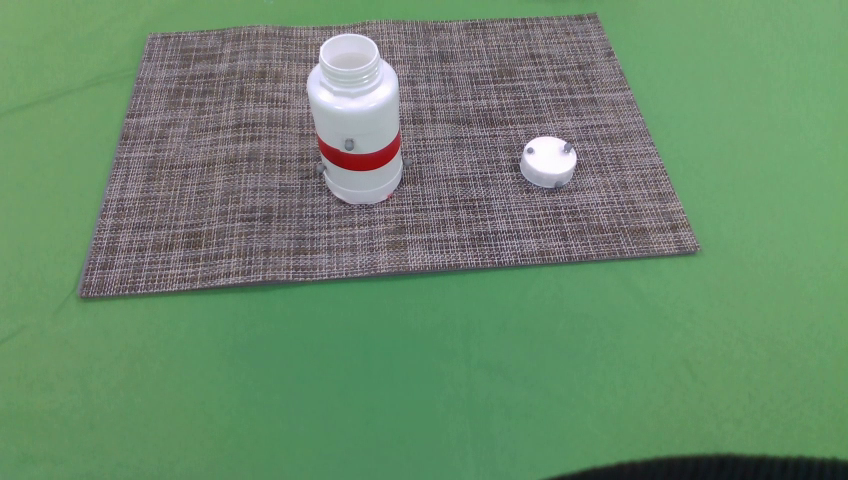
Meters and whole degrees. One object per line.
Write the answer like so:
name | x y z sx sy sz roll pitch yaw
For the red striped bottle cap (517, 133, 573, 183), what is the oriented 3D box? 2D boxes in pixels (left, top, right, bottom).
red striped bottle cap | 0.099 -0.068 0.494 0.044 0.018 0.044 1 51 0

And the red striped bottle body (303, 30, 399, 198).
red striped bottle body | -0.052 -0.090 0.441 0.063 0.121 0.062 0 55 0
